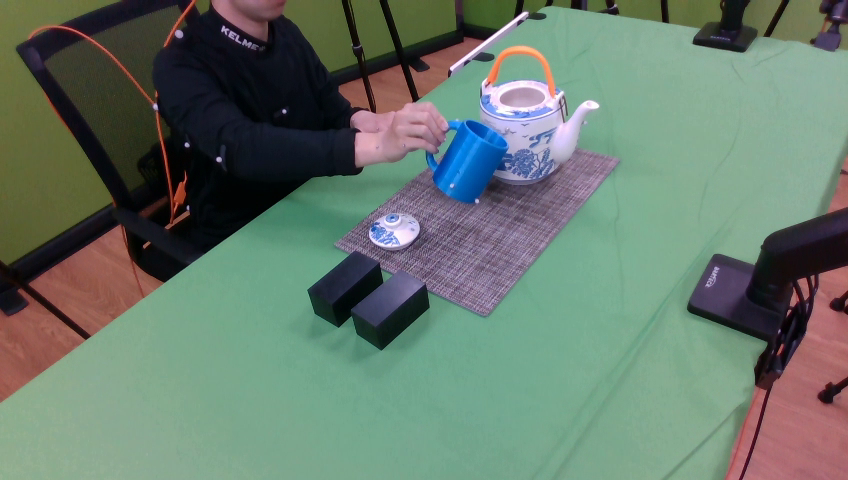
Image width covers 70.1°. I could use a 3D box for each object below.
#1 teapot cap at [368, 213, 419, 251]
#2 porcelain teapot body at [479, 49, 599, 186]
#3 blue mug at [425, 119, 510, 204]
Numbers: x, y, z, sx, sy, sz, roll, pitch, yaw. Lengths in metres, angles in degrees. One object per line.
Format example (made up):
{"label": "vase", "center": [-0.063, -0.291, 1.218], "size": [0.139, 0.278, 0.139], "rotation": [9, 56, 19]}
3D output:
{"label": "teapot cap", "center": [-0.050, -0.019, 0.975], "size": [0.085, 0.044, 0.085], "rotation": [-4, 43, 4]}
{"label": "porcelain teapot body", "center": [0.192, -0.208, 1.023], "size": [0.204, 0.226, 0.145], "rotation": [17, 46, 25]}
{"label": "blue mug", "center": [0.058, -0.130, 0.945], "size": [0.116, 0.106, 0.082], "rotation": [30, 27, 0]}
